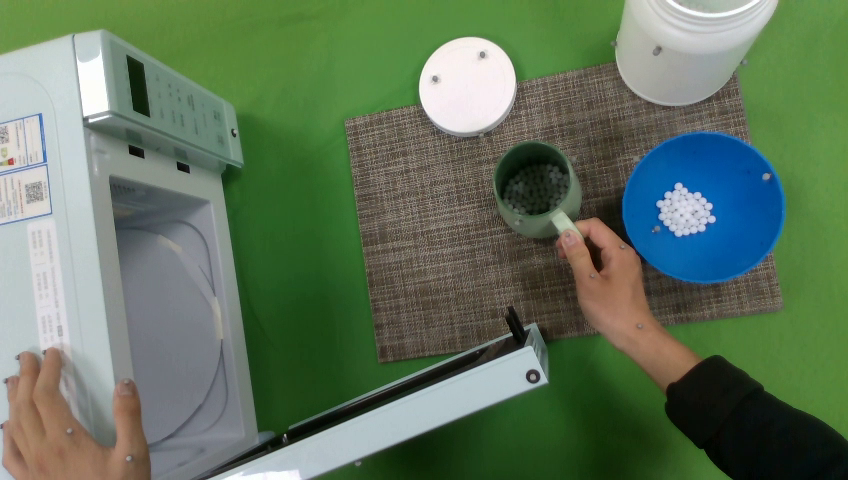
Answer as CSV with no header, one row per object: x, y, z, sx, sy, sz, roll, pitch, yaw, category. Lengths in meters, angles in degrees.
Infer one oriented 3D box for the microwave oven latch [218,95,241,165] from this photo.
-0.247,-0.134,0.741,0.030,0.029,0.079,-12,85,10,microwave oven latch

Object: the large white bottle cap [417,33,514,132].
0.048,-0.184,0.711,0.114,0.018,0.114,-1,86,11,large white bottle cap

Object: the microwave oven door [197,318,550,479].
-0.049,0.168,0.584,0.356,0.244,0.039,-25,82,9,microwave oven door

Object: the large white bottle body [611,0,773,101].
0.256,-0.227,0.588,0.130,0.185,0.130,-1,82,12,large white bottle body

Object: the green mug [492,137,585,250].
0.127,-0.043,0.638,0.092,0.105,0.124,-37,75,7,green mug

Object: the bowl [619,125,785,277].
0.277,-0.036,0.628,0.151,0.077,0.151,-1,87,12,bowl

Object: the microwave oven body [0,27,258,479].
-0.378,0.061,0.657,0.325,0.261,0.440,-11,85,10,microwave oven body
